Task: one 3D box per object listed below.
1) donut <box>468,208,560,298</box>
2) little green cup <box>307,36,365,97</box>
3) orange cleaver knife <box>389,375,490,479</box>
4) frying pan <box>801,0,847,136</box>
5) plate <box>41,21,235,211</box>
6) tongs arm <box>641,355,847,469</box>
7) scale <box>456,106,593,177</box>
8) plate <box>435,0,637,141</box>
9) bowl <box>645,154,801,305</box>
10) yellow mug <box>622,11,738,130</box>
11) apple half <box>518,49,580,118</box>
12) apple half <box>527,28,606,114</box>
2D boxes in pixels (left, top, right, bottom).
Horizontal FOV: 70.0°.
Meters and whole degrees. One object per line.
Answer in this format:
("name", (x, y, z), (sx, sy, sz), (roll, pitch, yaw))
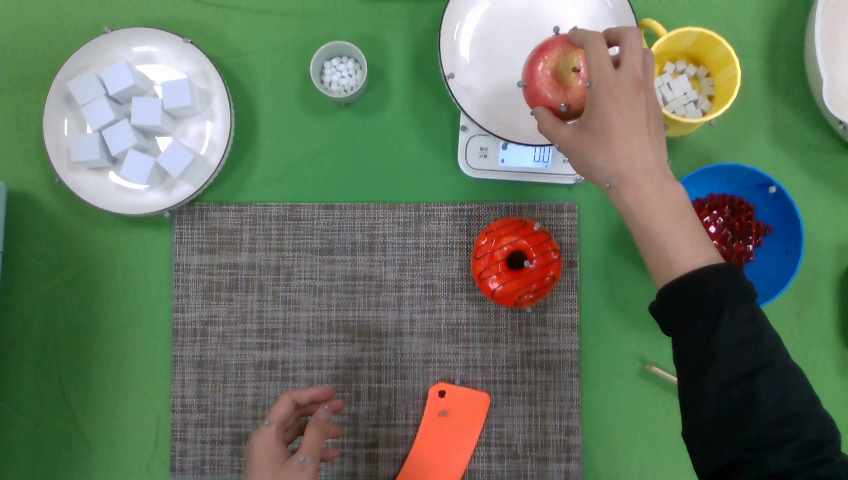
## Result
("donut", (0.096, 0.014, 0.651), (0.099, 0.048, 0.099), (0, 89, 3))
("little green cup", (-0.094, -0.188, 0.667), (0.061, 0.038, 0.061), (0, 88, 1))
("orange cleaver knife", (0.000, 0.242, 0.655), (0.077, 0.012, 0.211), (29, 86, -5))
("frying pan", (0.586, -0.123, 0.622), (0.307, 0.103, 0.485), (-27, 80, 1))
("plate", (-0.308, -0.133, 0.668), (0.208, 0.039, 0.207), (0, 88, 1))
("tongs arm", (0.404, 0.225, 0.650), (0.387, 0.028, 0.028), (30, 81, 1))
("scale", (0.114, -0.174, 0.667), (0.148, 0.031, 0.200), (4, 88, 1))
("plate", (0.115, -0.206, 0.635), (0.209, 0.038, 0.209), (0, 88, 0))
("bowl", (0.298, -0.009, 0.636), (0.151, 0.077, 0.151), (0, 89, 1))
("yellow mug", (0.262, -0.187, 0.648), (0.100, 0.064, 0.130), (-33, 87, 0))
("apple half", (0.111, -0.140, 0.575), (0.033, 0.081, 0.081), (-40, 87, 3))
("apple half", (0.140, -0.165, 0.571), (0.053, 0.075, 0.080), (-40, 86, 4))
